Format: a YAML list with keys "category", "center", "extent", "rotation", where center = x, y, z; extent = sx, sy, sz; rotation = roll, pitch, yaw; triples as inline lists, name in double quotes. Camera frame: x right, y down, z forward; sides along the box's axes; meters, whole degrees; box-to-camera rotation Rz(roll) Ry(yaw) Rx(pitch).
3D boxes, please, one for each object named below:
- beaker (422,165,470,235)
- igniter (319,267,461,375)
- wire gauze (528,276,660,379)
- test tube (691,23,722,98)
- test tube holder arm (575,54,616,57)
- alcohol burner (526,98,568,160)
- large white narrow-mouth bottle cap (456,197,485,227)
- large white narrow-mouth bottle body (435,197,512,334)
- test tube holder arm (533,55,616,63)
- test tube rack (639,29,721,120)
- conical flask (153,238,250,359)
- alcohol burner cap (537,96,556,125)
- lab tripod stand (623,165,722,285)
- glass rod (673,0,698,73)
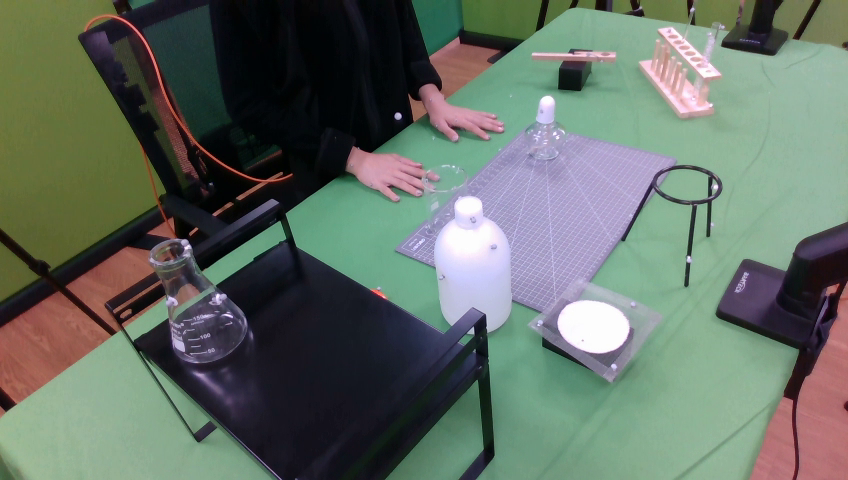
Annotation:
- category: "beaker"
  center: [0.041, -0.063, 0.986]
  extent: [0.073, 0.101, 0.084]
  rotation: [20, 47, 29]
- category: "igniter"
  center: [-0.060, 0.108, 0.862]
  extent: [0.274, 0.025, 0.057]
  rotation: [29, 62, 34]
- category: "wire gauze"
  center: [0.214, 0.103, 0.763]
  extent: [0.124, 0.011, 0.122]
  rotation: [30, 52, 35]
- category: "test tube"
  center: [0.547, -0.345, 1.173]
  extent: [0.017, 0.151, 0.017]
  rotation: [0, 42, 1]
- category: "test tube holder arm"
  center: [0.373, -0.398, 1.318]
  extent: [0.087, 0.015, 0.010]
  rotation: [5, 51, 15]
- category: "alcohol burner"
  center: [0.228, -0.210, 1.118]
  extent: [0.078, 0.119, 0.077]
  rotation: [-5, 43, 5]
- category: "large white narrow-mouth bottle cap"
  center: [0.058, -0.036, 0.750]
  extent: [0.038, 0.024, 0.037]
  rotation: [-4, 40, 4]
- category: "large white narrow-mouth bottle body"
  center: [0.066, 0.028, 0.805]
  extent: [0.102, 0.195, 0.101]
  rotation: [-4, 40, 4]
- category: "test tube holder arm"
  center: [0.329, -0.398, 1.327]
  extent: [0.178, 0.015, 0.013]
  rotation: [5, 51, 15]
- category: "test tube rack"
  center: [0.527, -0.351, 1.262]
  extent: [0.067, 0.085, 0.241]
  rotation: [-8, 40, 1]
- category: "conical flask"
  center: [-0.225, 0.055, 0.597]
  extent: [0.075, 0.122, 0.075]
  rotation: [-5, 41, 4]
- category: "alcohol burner cap"
  center: [0.223, -0.237, 1.095]
  extent: [0.034, 0.048, 0.033]
  rotation: [0, 42, 1]
- category: "lab tripod stand"
  center: [0.365, -0.030, 0.875]
  extent: [0.148, 0.132, 0.147]
  rotation: [-6, 41, 6]
- category: "glass rod"
  center: [0.537, -0.425, 1.244]
  extent: [0.008, 0.200, 0.008]
  rotation: [0, 47, 0]
